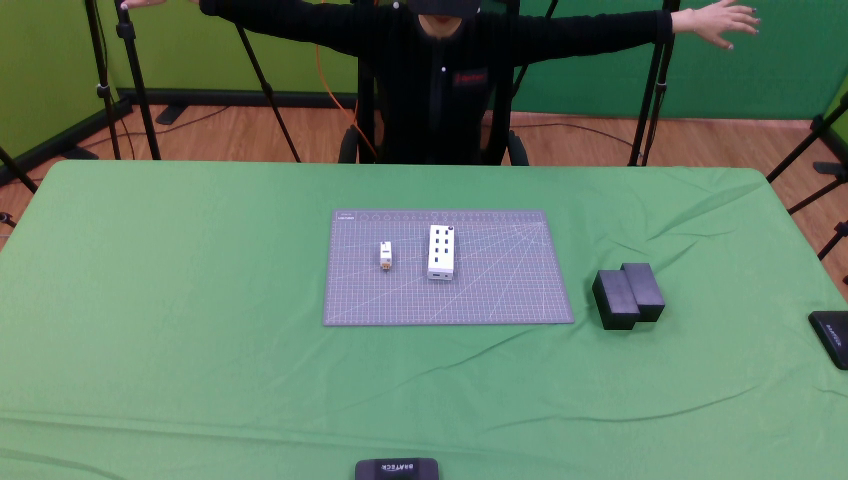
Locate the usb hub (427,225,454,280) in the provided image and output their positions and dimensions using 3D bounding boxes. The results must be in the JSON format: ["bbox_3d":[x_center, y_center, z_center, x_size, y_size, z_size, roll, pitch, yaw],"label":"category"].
[{"bbox_3d":[0.033,0.022,1.174,0.049,0.025,0.124,4,46,0],"label":"usb hub"}]

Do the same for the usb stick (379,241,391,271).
[{"bbox_3d":[-0.074,0.031,1.156,0.021,0.027,0.059,1,49,-5],"label":"usb stick"}]
